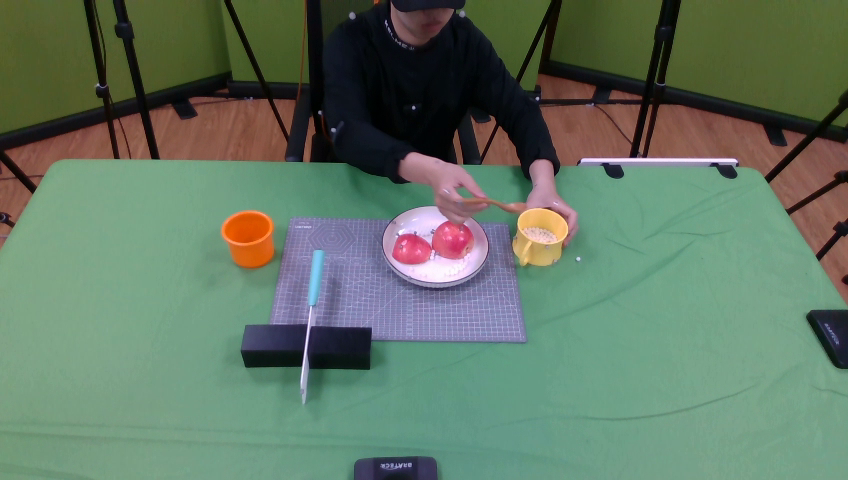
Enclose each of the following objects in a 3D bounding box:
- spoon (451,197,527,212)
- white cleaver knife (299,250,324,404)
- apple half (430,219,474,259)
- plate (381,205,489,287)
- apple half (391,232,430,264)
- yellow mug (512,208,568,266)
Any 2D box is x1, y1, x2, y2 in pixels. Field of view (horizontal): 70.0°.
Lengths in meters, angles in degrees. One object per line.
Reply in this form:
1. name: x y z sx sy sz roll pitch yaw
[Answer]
1. spoon: 0.115 -0.066 1.064 0.194 0.021 0.041 5 12 -44
2. white cleaver knife: -0.194 0.134 1.019 0.021 0.066 0.284 5 50 -5
3. apple half: 0.056 -0.007 1.172 0.081 0.053 0.074 -33 59 -31
4. plate: 0.021 0.015 1.170 0.209 0.038 0.208 2 46 -2
5. apple half: -0.024 0.009 1.163 0.081 0.033 0.081 2 43 -2
6. yellow mug: 0.219 0.002 1.182 0.099 0.064 0.130 26 50 21
